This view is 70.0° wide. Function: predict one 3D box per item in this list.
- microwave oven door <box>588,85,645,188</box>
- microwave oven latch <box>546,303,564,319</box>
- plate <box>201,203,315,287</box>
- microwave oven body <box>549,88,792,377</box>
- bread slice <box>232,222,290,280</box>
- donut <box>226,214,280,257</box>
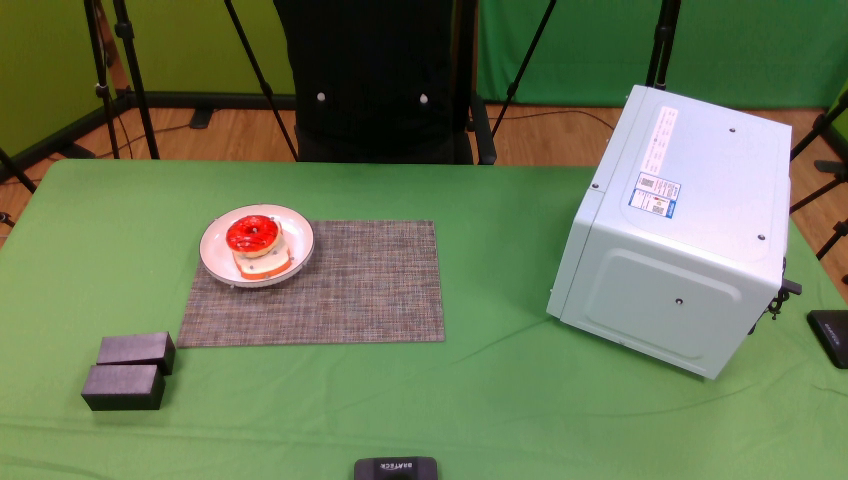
[{"bbox_3d":[0.342,-0.107,1.149,0.039,0.245,0.354,20,48,15],"label":"microwave oven door"},{"bbox_3d":[0.242,0.102,1.081,0.030,0.029,0.079,22,48,17],"label":"microwave oven latch"},{"bbox_3d":[-0.310,0.013,1.145,0.208,0.039,0.206,2,46,-2],"label":"plate"},{"bbox_3d":[0.456,-0.028,1.088,0.325,0.261,0.440,20,47,16],"label":"microwave oven body"},{"bbox_3d":[-0.308,0.019,1.141,0.105,0.019,0.130,-17,48,-18],"label":"bread slice"},{"bbox_3d":[-0.318,-0.010,1.127,0.099,0.048,0.098,0,45,0],"label":"donut"}]
